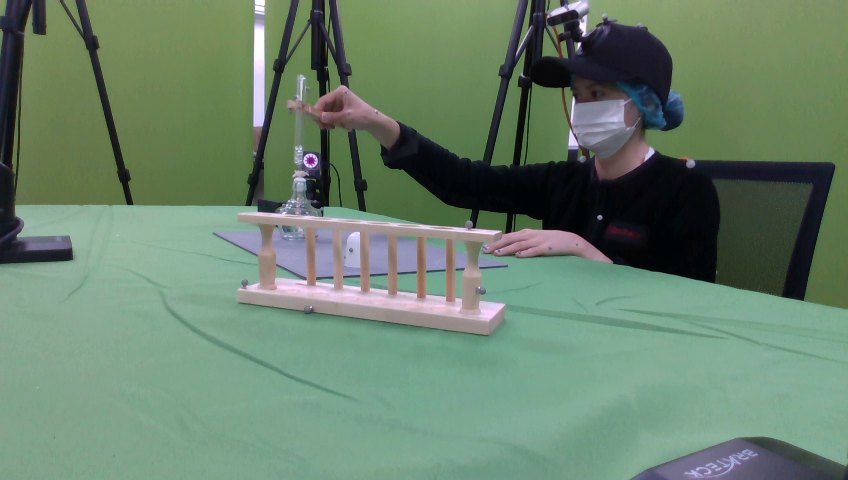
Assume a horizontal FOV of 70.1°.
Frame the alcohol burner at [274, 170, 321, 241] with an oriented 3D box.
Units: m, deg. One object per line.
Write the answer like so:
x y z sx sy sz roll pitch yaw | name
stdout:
-0.212 -0.058 1.015 0.078 0.119 0.078 4 5 0 | alcohol burner

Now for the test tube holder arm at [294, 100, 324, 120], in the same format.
-0.195 -0.221 1.033 0.010 0.015 0.088 5 -1 17 | test tube holder arm

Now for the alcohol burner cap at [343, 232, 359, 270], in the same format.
-0.087 0.013 0.777 0.034 0.048 0.034 3 7 0 | alcohol burner cap

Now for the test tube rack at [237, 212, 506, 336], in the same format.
-0.049 0.024 0.552 0.242 0.085 0.067 5 8 18 | test tube rack

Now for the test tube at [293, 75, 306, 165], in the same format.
-0.208 -0.201 1.012 0.017 0.150 0.017 2 -2 0 | test tube

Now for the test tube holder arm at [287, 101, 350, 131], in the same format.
-0.183 -0.220 1.077 0.013 0.015 0.179 5 -1 25 | test tube holder arm
